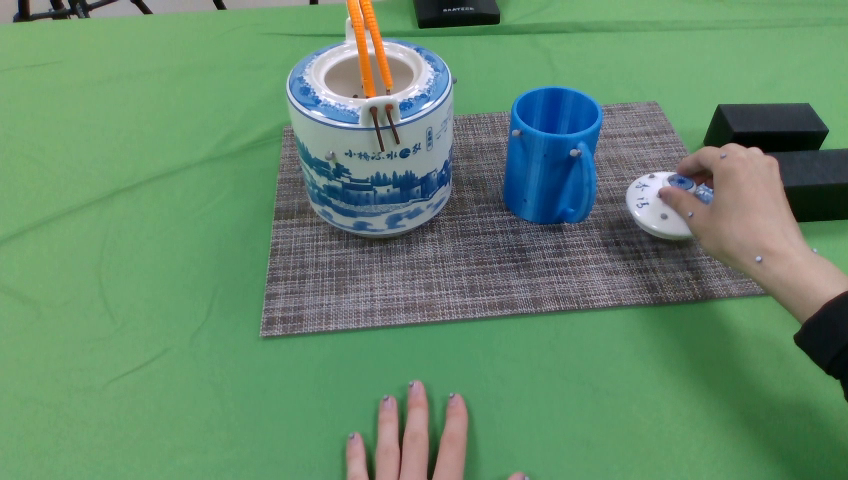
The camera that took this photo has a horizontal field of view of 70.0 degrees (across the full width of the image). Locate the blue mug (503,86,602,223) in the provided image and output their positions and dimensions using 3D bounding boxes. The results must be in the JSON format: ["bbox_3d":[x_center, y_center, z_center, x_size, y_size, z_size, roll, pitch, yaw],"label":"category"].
[{"bbox_3d":[0.127,-0.071,0.574,0.082,0.107,0.115,-17,49,-14],"label":"blue mug"}]

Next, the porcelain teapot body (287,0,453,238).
[{"bbox_3d":[-0.053,-0.140,0.560,0.145,0.227,0.203,-10,47,-8],"label":"porcelain teapot body"}]

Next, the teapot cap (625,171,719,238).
[{"bbox_3d":[0.229,-0.039,0.558,0.085,0.044,0.084,1,46,-1],"label":"teapot cap"}]
